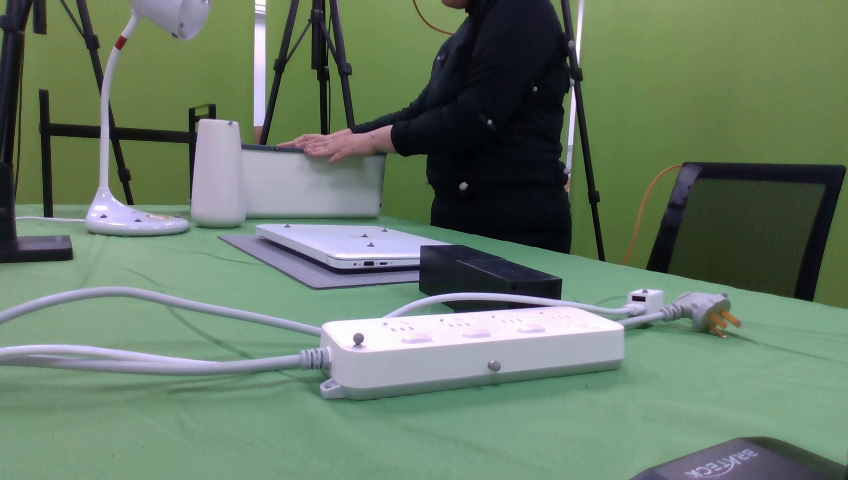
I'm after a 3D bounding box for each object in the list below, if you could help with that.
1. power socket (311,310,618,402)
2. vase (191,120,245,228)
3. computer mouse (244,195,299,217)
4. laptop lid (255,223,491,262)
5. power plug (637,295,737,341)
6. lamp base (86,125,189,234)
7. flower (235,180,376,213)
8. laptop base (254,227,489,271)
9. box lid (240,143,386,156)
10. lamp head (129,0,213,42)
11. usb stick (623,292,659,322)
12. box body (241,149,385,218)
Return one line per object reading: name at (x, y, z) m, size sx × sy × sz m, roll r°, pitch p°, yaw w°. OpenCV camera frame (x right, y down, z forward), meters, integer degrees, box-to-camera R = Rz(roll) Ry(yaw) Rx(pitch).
power socket at (0.034, 0.074, 0.416) m, size 0.228 × 0.032 × 0.072 m, roll -1°, pitch 7°, yaw -24°
vase at (-0.389, -0.124, 1.143) m, size 0.098 × 0.200 × 0.098 m, roll 3°, pitch 9°, yaw 0°
computer mouse at (-0.346, -0.077, 1.372) m, size 0.118 × 0.041 × 0.062 m, roll -11°, pitch 18°, yaw -33°
laptop lid at (-0.093, 0.000, 0.911) m, size 0.243 × 0.013 × 0.355 m, roll 1°, pitch 7°, yaw -30°
power plug at (0.235, 0.077, 0.536) m, size 0.072 × 0.035 × 0.052 m, roll -34°, pitch 40°, yaw -5°
lamp base at (-0.497, -0.105, 1.027) m, size 0.179 × 0.180 × 0.160 m, roll 1°, pitch 7°, yaw 3°
flower at (-0.264, -0.092, 1.416) m, size 0.364 × 0.038 × 0.044 m, roll 8°, pitch -41°, yaw -38°
laptop base at (-0.096, 0.012, 0.911) m, size 0.237 × 0.023 × 0.352 m, roll 2°, pitch 6°, yaw -32°
box lid at (-0.304, -0.216, 1.463) m, size 0.373 × 0.015 × 0.262 m, roll -1°, pitch 8°, yaw -30°
lamp head at (-0.423, -0.394, 0.980) m, size 0.123 × 0.112 × 0.112 m, roll 20°, pitch 7°, yaw -3°
usb stick at (0.211, 0.064, 0.581) m, size 0.021 × 0.027 × 0.059 m, roll 0°, pitch -3°, yaw 36°
box body at (-0.306, -0.144, 1.475) m, size 0.366 × 0.160 × 0.253 m, roll -1°, pitch 9°, yaw -30°
